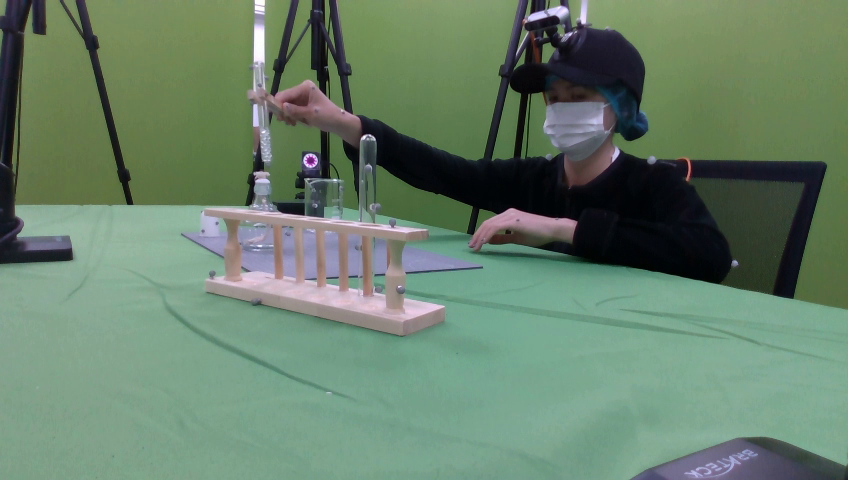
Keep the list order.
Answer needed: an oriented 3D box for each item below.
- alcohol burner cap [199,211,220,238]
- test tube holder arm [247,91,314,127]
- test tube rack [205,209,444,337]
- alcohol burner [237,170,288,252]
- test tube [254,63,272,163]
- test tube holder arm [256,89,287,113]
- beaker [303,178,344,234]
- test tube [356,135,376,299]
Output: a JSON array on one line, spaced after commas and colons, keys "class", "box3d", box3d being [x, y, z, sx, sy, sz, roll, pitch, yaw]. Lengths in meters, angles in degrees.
[{"class": "alcohol burner cap", "box3d": [-0.356, -0.027, 1.002, 0.034, 0.048, 0.034, 2, 7, 0]}, {"class": "test tube holder arm", "box3d": [-0.221, -0.204, 0.953, 0.013, 0.015, 0.179, -9, -5, 17]}, {"class": "test tube rack", "box3d": [-0.100, 0.021, 0.565, 0.241, 0.085, 0.067, 7, 9, 32]}, {"class": "alcohol burner", "box3d": [-0.236, -0.042, 0.882, 0.078, 0.119, 0.078, 2, 9, 0]}, {"class": "test tube", "box3d": [-0.235, -0.186, 0.884, 0.017, 0.150, 0.017, -6, -6, 0]}, {"class": "test tube holder arm", "box3d": [-0.227, -0.207, 0.908, 0.010, 0.015, 0.088, -9, -5, 9]}, {"class": "beaker", "box3d": [-0.189, -0.063, 1.119, 0.073, 0.100, 0.084, 6, 9, 28]}, {"class": "test tube", "box3d": [-0.053, -0.019, 0.550, 0.017, 0.150, 0.017, 2, 9, 0]}]
